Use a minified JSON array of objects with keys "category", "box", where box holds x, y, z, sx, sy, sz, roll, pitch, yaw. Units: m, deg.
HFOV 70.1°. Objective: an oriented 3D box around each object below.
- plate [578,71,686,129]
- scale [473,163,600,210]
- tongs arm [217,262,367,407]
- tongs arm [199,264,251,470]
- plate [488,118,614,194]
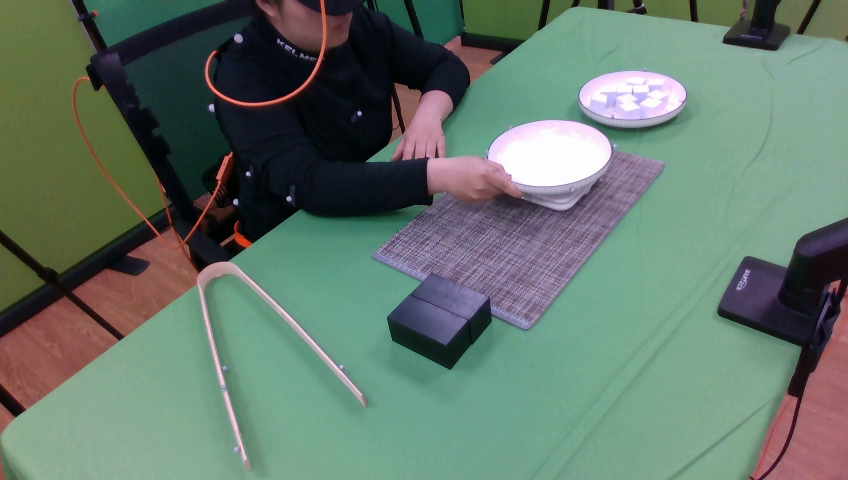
[{"category":"plate","box":[0.416,-0.279,1.222,0.209,0.038,0.208,-5,41,5]},{"category":"scale","box":[0.202,-0.121,1.074,0.199,0.032,0.149,23,49,33]},{"category":"tongs arm","box":[-0.200,0.122,0.871,0.028,0.028,0.384,-35,46,-24]},{"category":"tongs arm","box":[-0.269,0.154,0.841,0.051,0.026,0.381,-23,41,-17]},{"category":"plate","box":[0.214,-0.140,1.029,0.207,0.039,0.206,-6,40,5]}]
